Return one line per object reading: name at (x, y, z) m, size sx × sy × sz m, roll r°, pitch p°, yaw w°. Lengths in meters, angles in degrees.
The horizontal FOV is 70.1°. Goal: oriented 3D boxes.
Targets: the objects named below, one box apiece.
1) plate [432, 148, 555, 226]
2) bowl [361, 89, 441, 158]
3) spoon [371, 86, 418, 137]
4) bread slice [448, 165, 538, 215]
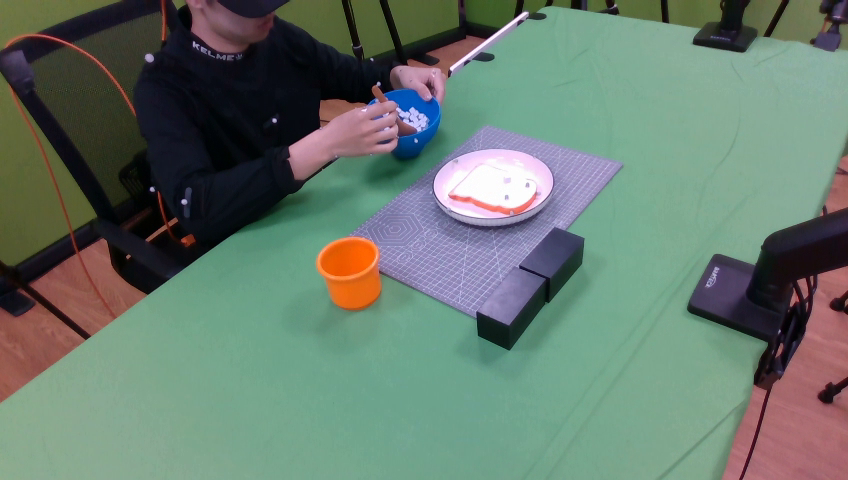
plate at (0.119, -0.087, 1.037) m, size 0.209 × 0.038 × 0.208 m, roll -4°, pitch 40°, yaw 4°
bowl at (-0.039, -0.213, 1.159) m, size 0.151 × 0.077 × 0.150 m, roll -3°, pitch 48°, yaw 4°
spoon at (-0.054, -0.220, 1.066) m, size 0.041 × 0.195 × 0.021 m, roll -29°, pitch 63°, yaw 9°
bread slice at (0.126, -0.085, 1.038) m, size 0.133 × 0.018 × 0.107 m, roll 16°, pitch 45°, yaw 27°
